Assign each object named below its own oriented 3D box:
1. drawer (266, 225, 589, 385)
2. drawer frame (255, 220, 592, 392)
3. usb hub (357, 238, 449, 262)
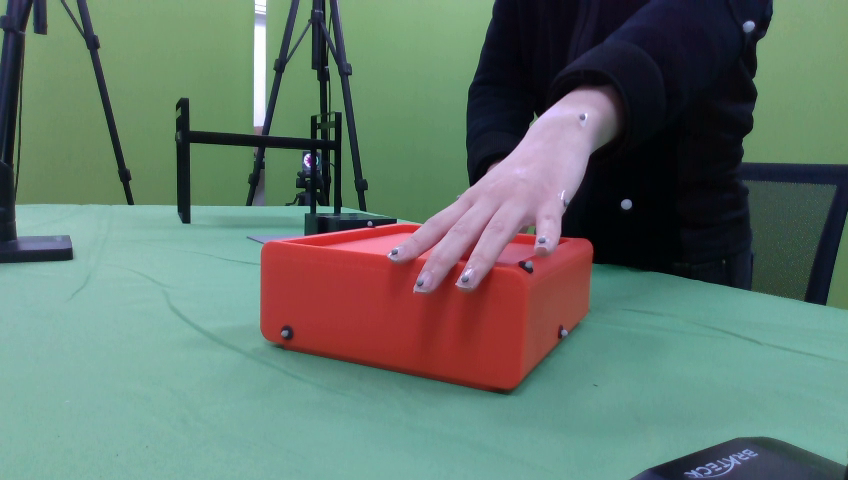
[{"bbox_3d":[0.015,0.039,0.493,0.194,0.073,0.212,7,10,25],"label":"drawer"},{"bbox_3d":[0.013,0.036,0.490,0.201,0.082,0.214,6,9,25],"label":"drawer frame"},{"bbox_3d":[-0.028,0.013,0.855,0.126,0.025,0.049,-2,8,-33],"label":"usb hub"}]
